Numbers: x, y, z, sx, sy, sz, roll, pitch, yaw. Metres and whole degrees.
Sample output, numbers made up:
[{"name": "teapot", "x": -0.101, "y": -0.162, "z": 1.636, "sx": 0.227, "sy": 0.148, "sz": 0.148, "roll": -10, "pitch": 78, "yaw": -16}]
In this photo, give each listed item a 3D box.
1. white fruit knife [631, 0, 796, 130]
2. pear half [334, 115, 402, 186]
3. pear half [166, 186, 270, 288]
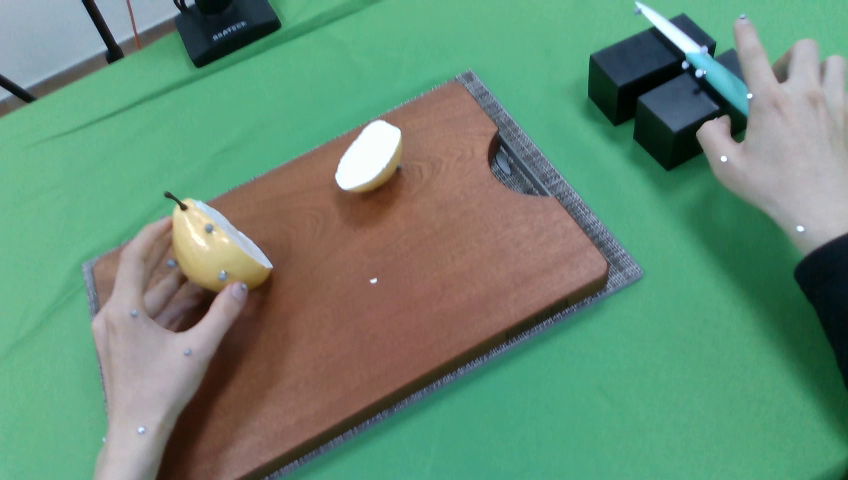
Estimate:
[{"name": "white fruit knife", "x": 0.240, "y": -0.161, "z": 0.528, "sx": 0.027, "sy": 0.016, "sz": 0.205, "roll": -10, "pitch": 50, "yaw": -21}, {"name": "pear half", "x": -0.046, "y": -0.077, "z": 0.554, "sx": 0.070, "sy": 0.031, "sz": 0.087, "roll": -13, "pitch": 41, "yaw": 23}, {"name": "pear half", "x": -0.180, "y": -0.001, "z": 0.490, "sx": 0.056, "sy": 0.111, "sz": 0.075, "roll": -46, "pitch": 47, "yaw": -11}]
